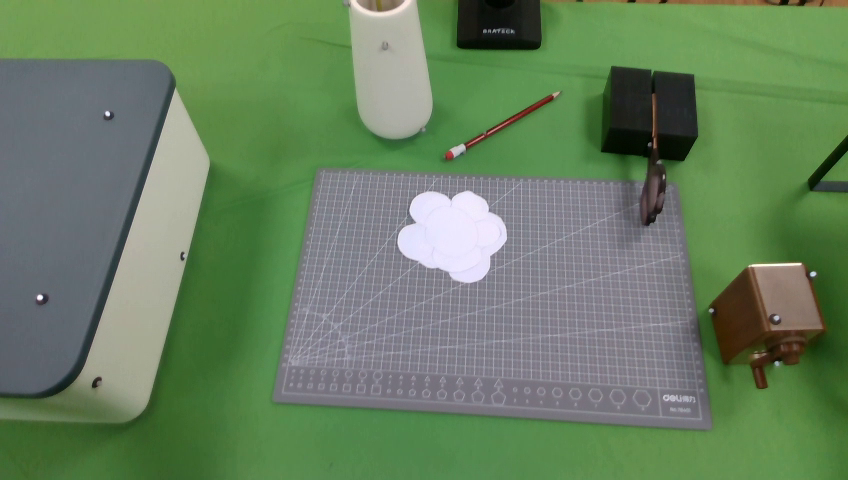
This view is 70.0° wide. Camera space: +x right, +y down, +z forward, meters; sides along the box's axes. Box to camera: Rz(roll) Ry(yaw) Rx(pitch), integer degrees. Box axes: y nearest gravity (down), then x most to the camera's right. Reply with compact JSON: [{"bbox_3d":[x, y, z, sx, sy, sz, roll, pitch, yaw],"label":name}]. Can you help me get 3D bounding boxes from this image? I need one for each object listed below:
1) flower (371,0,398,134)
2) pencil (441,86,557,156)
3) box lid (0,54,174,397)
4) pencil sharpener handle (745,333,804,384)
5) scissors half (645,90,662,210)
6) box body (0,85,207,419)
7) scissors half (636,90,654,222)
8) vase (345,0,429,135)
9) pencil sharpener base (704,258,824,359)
[{"bbox_3d":[-0.055,-0.268,0.656,0.044,0.365,0.038,-4,45,3],"label":"flower"},{"bbox_3d":[0.102,-0.159,0.795,0.194,0.012,0.012,-32,65,-16],"label":"pencil"},{"bbox_3d":[-0.403,-0.039,0.576,0.263,0.015,0.368,2,62,2],"label":"box lid"},{"bbox_3d":[0.334,0.114,0.576,0.036,0.068,0.030,5,62,-12],"label":"pencil sharpener handle"},{"bbox_3d":[0.266,-0.112,0.708,0.013,0.040,0.174,5,58,6],"label":"scissors half"},{"bbox_3d":[-0.401,-0.002,0.641,0.254,0.161,0.361,1,62,3],"label":"box body"},{"bbox_3d":[0.266,-0.103,0.727,0.013,0.040,0.174,8,75,2],"label":"scissors half"},{"bbox_3d":[-0.045,-0.217,0.722,0.098,0.201,0.097,-1,61,3],"label":"vase"},{"bbox_3d":[0.337,0.075,0.610,0.061,0.108,0.076,-1,62,1],"label":"pencil sharpener base"}]
